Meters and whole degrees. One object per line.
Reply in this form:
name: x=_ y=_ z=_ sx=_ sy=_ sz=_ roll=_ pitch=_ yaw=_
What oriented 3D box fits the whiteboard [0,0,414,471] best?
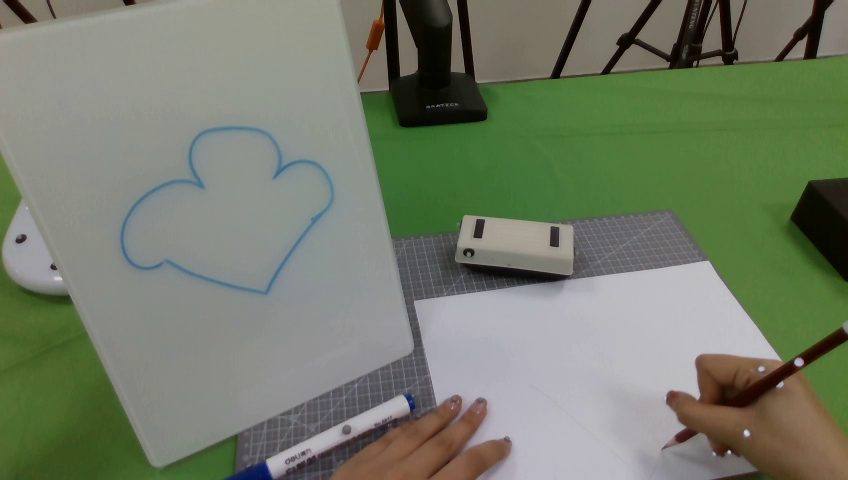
whiteboard: x=-0.157 y=-0.026 z=0.470 sx=0.217 sy=0.308 sz=0.142 roll=-21 pitch=27 yaw=-21

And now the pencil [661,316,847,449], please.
pencil: x=0.212 y=0.094 z=0.386 sx=0.012 sy=0.195 sz=0.012 roll=15 pitch=44 yaw=-15

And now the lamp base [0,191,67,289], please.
lamp base: x=-0.348 y=-0.071 z=0.567 sx=0.178 sy=0.182 sz=0.160 roll=22 pitch=46 yaw=25

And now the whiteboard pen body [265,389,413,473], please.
whiteboard pen body: x=-0.072 y=0.144 z=0.445 sx=0.141 sy=0.017 sz=0.017 roll=-21 pitch=46 yaw=-20

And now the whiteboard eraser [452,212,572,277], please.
whiteboard eraser: x=0.087 y=0.005 z=0.590 sx=0.112 sy=0.042 sz=0.055 roll=7 pitch=43 yaw=7

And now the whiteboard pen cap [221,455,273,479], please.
whiteboard pen cap: x=-0.123 y=0.164 z=0.423 sx=0.033 sy=0.018 sz=0.018 roll=-22 pitch=46 yaw=-21
